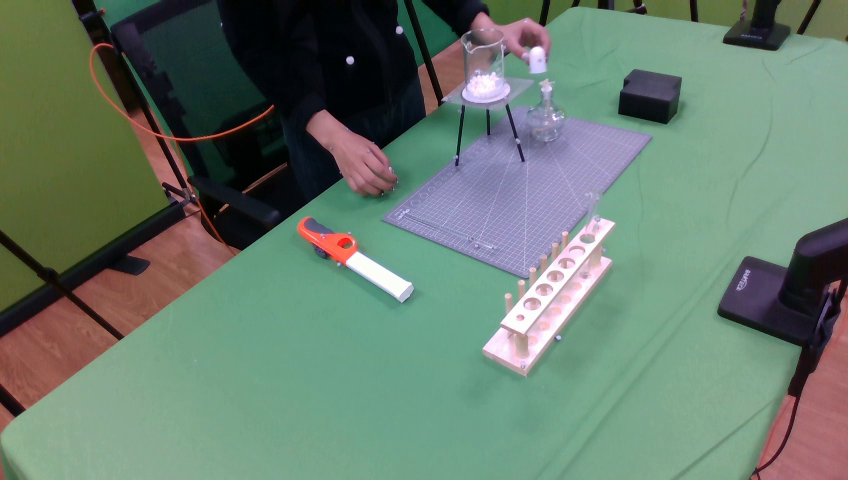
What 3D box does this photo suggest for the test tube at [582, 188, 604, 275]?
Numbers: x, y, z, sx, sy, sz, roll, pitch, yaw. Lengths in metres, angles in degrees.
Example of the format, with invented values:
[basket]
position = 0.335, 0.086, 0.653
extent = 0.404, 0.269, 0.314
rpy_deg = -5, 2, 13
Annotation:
[test tube]
position = 0.228, -0.007, 0.821
extent = 0.017, 0.151, 0.017
rpy_deg = -3, 42, 3

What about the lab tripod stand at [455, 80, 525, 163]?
[lab tripod stand]
position = 0.120, -0.219, 1.126
extent = 0.148, 0.132, 0.147
rpy_deg = -4, 39, 4

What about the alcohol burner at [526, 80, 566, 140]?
[alcohol burner]
position = 0.234, -0.252, 1.159
extent = 0.078, 0.119, 0.077
rpy_deg = -4, 42, 4

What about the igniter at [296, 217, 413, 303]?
[igniter]
position = -0.121, 0.025, 0.970
extent = 0.274, 0.025, 0.057
rpy_deg = 30, 63, 37

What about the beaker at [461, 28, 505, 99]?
[beaker]
position = 0.103, -0.304, 1.051
extent = 0.073, 0.101, 0.084
rpy_deg = 19, 48, 29

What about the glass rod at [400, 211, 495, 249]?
[glass rod]
position = 0.035, -0.018, 1.001
extent = 0.198, 0.008, 0.008
rpy_deg = 22, 49, 35

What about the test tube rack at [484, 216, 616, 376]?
[test tube rack]
position = 0.174, 0.064, 0.823
extent = 0.066, 0.085, 0.243
rpy_deg = 23, 49, 33

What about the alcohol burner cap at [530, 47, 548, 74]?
[alcohol burner cap]
position = 0.212, -0.334, 1.125
extent = 0.034, 0.048, 0.033
rpy_deg = -8, 25, 4

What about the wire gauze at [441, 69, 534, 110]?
[wire gauze]
position = 0.114, -0.268, 1.082
extent = 0.120, 0.011, 0.125
rpy_deg = 22, 47, 29
